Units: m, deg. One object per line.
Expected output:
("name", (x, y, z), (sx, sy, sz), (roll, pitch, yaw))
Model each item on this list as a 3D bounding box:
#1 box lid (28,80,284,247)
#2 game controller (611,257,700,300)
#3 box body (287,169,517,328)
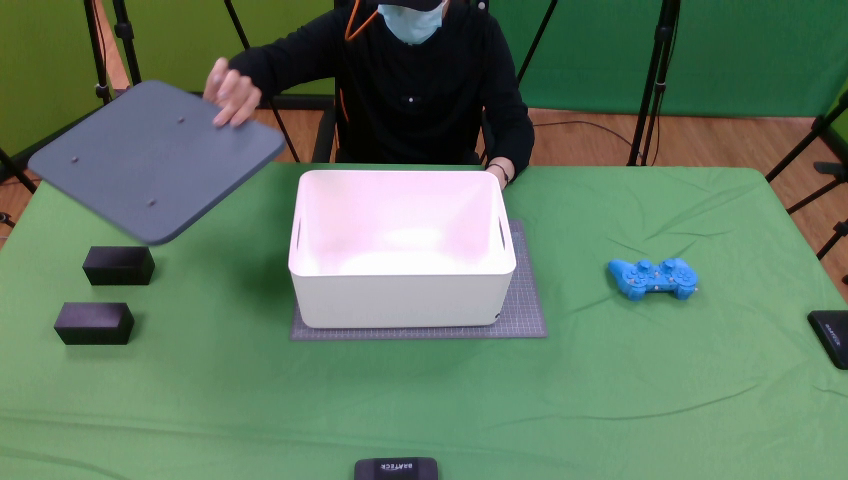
("box lid", (-0.423, -0.136, 0.951), (0.370, 0.015, 0.263), (25, 58, 28))
("game controller", (0.441, 0.063, 1.144), (0.155, 0.052, 0.096), (-1, 50, -4))
("box body", (-0.040, 0.015, 1.074), (0.364, 0.161, 0.252), (-1, 47, -5))
